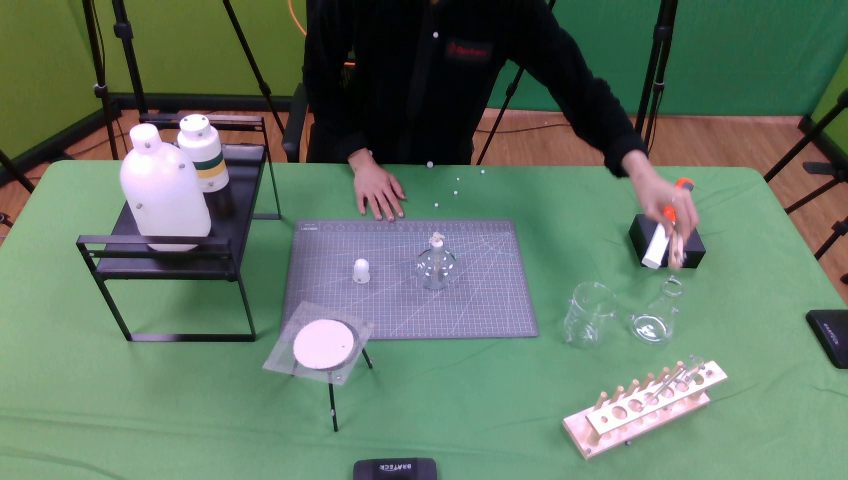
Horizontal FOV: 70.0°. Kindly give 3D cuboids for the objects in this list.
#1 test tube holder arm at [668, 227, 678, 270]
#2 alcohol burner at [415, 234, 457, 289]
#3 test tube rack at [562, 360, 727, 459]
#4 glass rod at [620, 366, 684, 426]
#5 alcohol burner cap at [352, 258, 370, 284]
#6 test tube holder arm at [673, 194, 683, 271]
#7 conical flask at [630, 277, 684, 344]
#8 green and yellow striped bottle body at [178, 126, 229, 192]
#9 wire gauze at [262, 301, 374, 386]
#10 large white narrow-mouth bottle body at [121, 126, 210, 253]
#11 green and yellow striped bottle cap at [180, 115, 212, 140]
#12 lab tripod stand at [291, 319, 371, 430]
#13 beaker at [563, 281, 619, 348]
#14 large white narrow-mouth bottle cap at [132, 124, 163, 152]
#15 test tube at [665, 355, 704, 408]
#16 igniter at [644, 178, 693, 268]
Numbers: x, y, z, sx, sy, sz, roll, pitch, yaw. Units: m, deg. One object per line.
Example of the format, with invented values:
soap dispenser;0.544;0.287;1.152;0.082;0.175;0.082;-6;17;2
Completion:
test tube holder arm;0.386;0.012;0.937;0.010;0.015;0.087;16;45;9
alcohol burner;0.022;0.033;1.100;0.078;0.120;0.077;1;47;0
test tube rack;0.341;0.247;0.940;0.243;0.085;0.066;-16;49;-18
glass rod;0.322;0.227;0.866;0.008;0.200;0.008;5;51;-7
alcohol burner cap;-0.117;0.055;1.118;0.034;0.048;0.033;1;46;-1
test tube holder arm;0.405;-0.015;0.968;0.013;0.015;0.177;16;45;9
conical flask;0.408;0.117;1.045;0.075;0.122;0.075;2;46;-2
green and yellow striped bottle body;-0.361;-0.142;0.989;0.063;0.120;0.063;2;46;-2
wire gauze;-0.150;0.148;0.873;0.121;0.011;0.124;14;46;12
large white narrow-mouth bottle body;-0.378;-0.077;0.875;0.102;0.195;0.101;3;46;-3
green and yellow striped bottle cap;-0.358;-0.177;0.951;0.045;0.020;0.045;1;44;-1
lab tripod stand;-0.146;0.194;0.923;0.148;0.132;0.147;1;47;-1
beaker;0.283;0.129;1.041;0.074;0.101;0.083;11;46;6
large white narrow-mouth bottle cap;-0.371;-0.137;0.813;0.038;0.024;0.037;3;46;-3
test tube;0.386;0.215;0.906;0.017;0.151;0.017;0;50;0
igniter;0.489;-0.042;1.204;0.057;0.025;0.276;30;51;10
